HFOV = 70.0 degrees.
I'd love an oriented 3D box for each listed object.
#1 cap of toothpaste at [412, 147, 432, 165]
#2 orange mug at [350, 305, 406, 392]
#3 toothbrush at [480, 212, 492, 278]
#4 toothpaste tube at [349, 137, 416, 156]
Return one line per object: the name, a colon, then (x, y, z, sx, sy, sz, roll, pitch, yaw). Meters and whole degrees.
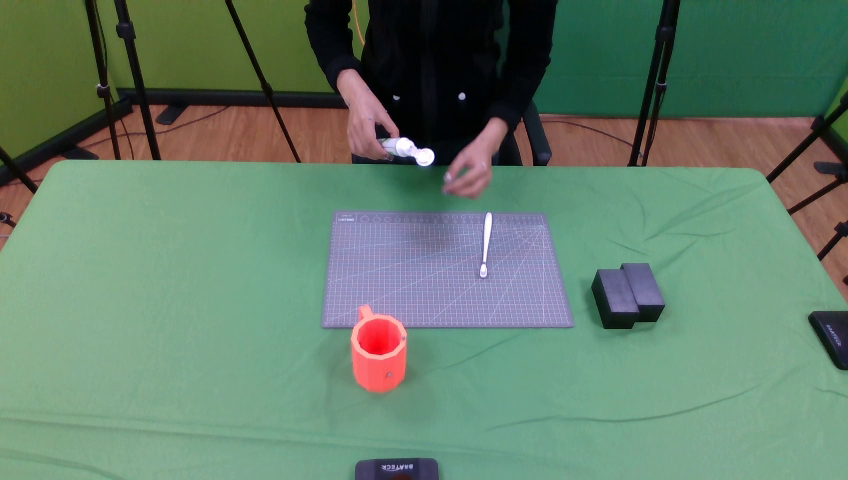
cap of toothpaste: (-0.003, -0.154, 1.096, 0.037, 0.011, 0.037, -5, 69, 12)
orange mug: (-0.080, 0.168, 0.978, 0.083, 0.101, 0.125, -16, 54, -18)
toothbrush: (0.124, 0.004, 1.202, 0.014, 0.017, 0.181, -2, 43, 13)
toothpaste tube: (-0.073, -0.179, 1.145, 0.055, 0.034, 0.164, 8, 5, -42)
